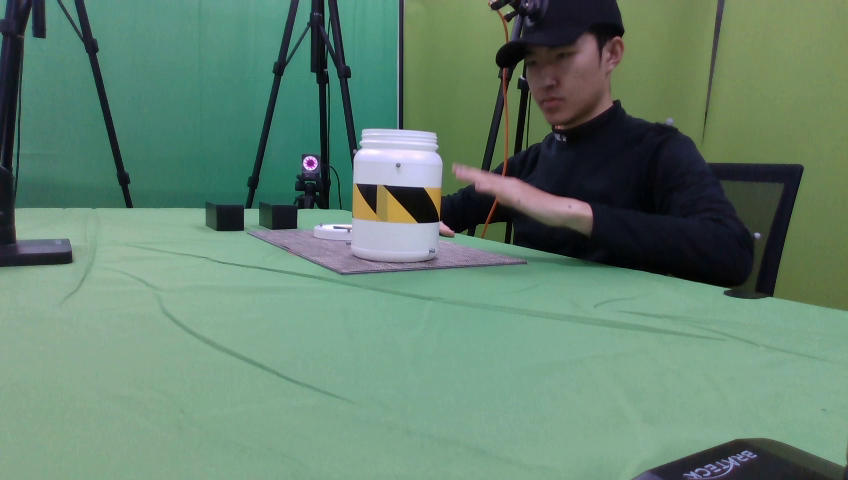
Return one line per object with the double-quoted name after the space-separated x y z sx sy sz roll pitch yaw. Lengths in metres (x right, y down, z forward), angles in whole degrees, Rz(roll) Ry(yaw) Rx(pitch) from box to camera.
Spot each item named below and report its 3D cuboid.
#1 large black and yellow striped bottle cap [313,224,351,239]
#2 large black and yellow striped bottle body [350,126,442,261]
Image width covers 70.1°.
-0.145 -0.016 1.108 0.115 0.019 0.115 3 7 0 "large black and yellow striped bottle cap"
-0.040 -0.068 0.881 0.131 0.184 0.130 2 7 0 "large black and yellow striped bottle body"
